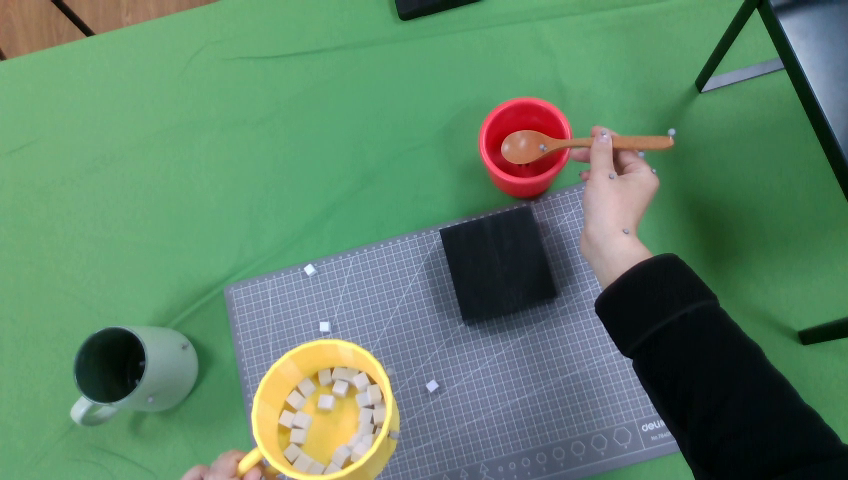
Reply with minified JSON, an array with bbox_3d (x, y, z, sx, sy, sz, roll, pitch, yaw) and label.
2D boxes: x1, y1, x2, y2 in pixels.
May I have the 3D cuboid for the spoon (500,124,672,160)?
[{"bbox_3d":[0.150,-0.098,0.597,0.192,0.022,0.041,10,75,51],"label":"spoon"}]

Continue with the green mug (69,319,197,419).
[{"bbox_3d":[-0.315,0.140,0.642,0.092,0.105,0.125,42,84,13],"label":"green mug"}]

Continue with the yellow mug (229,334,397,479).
[{"bbox_3d":[-0.085,0.136,0.449,0.131,0.064,0.099,-34,65,-15],"label":"yellow mug"}]
